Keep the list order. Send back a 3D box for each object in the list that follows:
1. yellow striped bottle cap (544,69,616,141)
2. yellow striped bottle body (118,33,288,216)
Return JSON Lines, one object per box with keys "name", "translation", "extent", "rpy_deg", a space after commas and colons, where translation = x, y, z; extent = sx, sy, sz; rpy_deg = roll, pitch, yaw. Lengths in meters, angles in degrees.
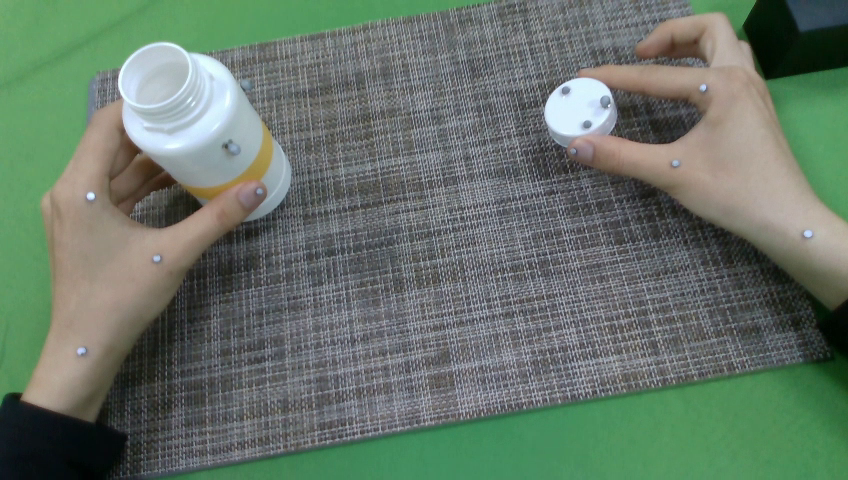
{"name": "yellow striped bottle cap", "translation": [0.100, -0.087, 0.392], "extent": [0.044, 0.019, 0.044], "rpy_deg": [-9, 67, 22]}
{"name": "yellow striped bottle body", "translation": [-0.126, -0.064, 0.349], "extent": [0.063, 0.121, 0.062], "rpy_deg": [-1, 70, 4]}
